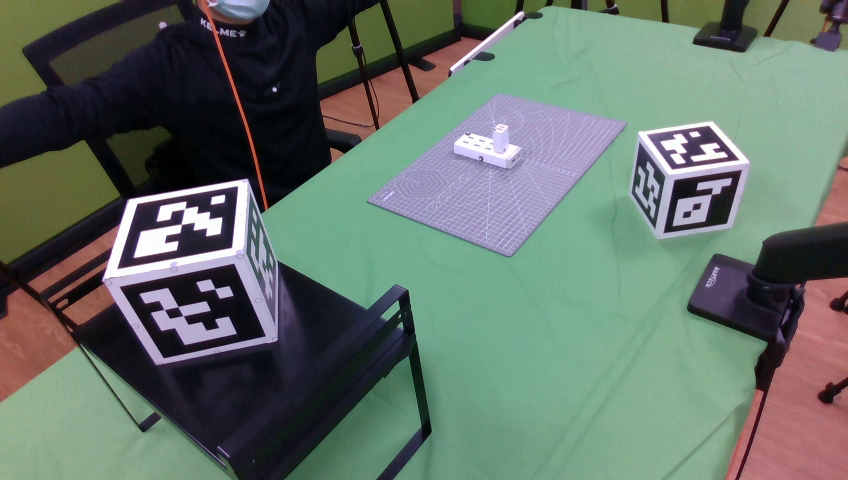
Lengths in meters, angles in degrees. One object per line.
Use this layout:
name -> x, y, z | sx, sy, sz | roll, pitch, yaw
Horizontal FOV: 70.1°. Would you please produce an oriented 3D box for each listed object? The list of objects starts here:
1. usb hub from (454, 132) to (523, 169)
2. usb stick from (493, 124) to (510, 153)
usb hub -> 0.121, -0.170, 1.144 | 0.124, 0.025, 0.049 | 22, 48, 29
usb stick -> 0.142, -0.180, 1.107 | 0.021, 0.059, 0.027 | 18, 46, 29
